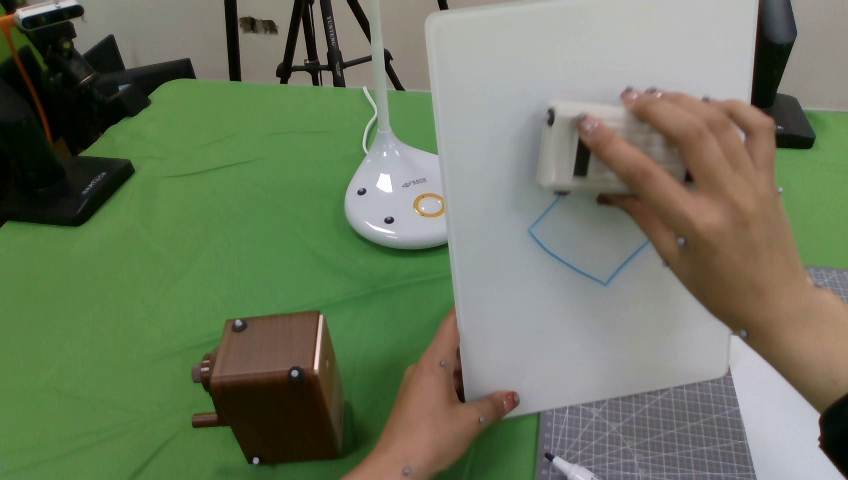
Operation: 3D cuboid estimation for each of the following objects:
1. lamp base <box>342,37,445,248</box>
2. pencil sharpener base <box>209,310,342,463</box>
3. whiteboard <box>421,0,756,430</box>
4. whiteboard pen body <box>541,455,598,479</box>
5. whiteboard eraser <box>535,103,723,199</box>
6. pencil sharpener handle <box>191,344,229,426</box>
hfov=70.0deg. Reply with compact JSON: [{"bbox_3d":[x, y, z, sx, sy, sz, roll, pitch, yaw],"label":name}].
[{"bbox_3d":[-0.024,-0.110,0.638,0.161,0.182,0.177,-27,44,-25],"label":"lamp base"},{"bbox_3d":[-0.106,0.110,0.445,0.077,0.108,0.060,-5,41,-1],"label":"pencil sharpener base"},{"bbox_3d":[0.114,-0.033,0.488,0.217,0.307,0.142,-9,22,-4],"label":"whiteboard"},{"bbox_3d":[0.139,0.183,0.407,0.139,0.017,0.017,25,48,33],"label":"whiteboard pen body"},{"bbox_3d":[0.129,-0.057,0.389,0.113,0.056,0.041,1,21,-9],"label":"whiteboard eraser"},{"bbox_3d":[-0.158,0.107,0.433,0.030,0.068,0.035,-5,28,-1],"label":"pencil sharpener handle"}]
